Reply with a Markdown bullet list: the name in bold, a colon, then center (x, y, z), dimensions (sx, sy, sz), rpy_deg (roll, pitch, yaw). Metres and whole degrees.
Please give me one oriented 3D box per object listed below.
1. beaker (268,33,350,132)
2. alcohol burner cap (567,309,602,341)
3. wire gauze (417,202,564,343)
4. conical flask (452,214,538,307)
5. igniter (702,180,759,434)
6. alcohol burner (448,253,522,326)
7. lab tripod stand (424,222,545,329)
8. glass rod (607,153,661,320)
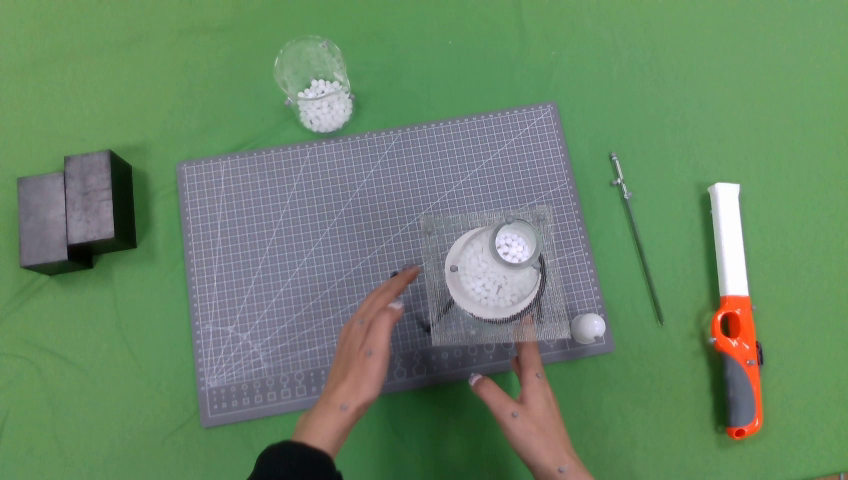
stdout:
- **beaker**: center (-0.120, -0.169, 0.673), dimensions (0.084, 0.100, 0.074), rpy_deg (26, 79, 4)
- **alcohol burner cap**: center (0.173, 0.089, 0.646), dimensions (0.034, 0.048, 0.033), rpy_deg (0, 77, -1)
- **wire gauze**: center (0.060, 0.029, 0.544), dimensions (0.125, 0.011, 0.121), rpy_deg (-4, 80, -3)
- **conical flask**: center (0.063, 0.012, 0.488), dimensions (0.075, 0.122, 0.075), rpy_deg (0, 79, -1)
- **igniter**: center (0.333, 0.068, 0.663), dimensions (0.057, 0.025, 0.275), rpy_deg (3, 77, -10)
- **alcohol burner**: center (0.063, 0.048, 0.618), dimensions (0.078, 0.119, 0.077), rpy_deg (0, 77, 2)
- **lab tripod stand**: center (0.062, 0.045, 0.608), dimensions (0.148, 0.132, 0.148), rpy_deg (0, 79, 0)
- **glass rod**: center (0.237, -0.006, 0.687), dimensions (0.008, 0.008, 0.198), rpy_deg (-11, 77, -3)
